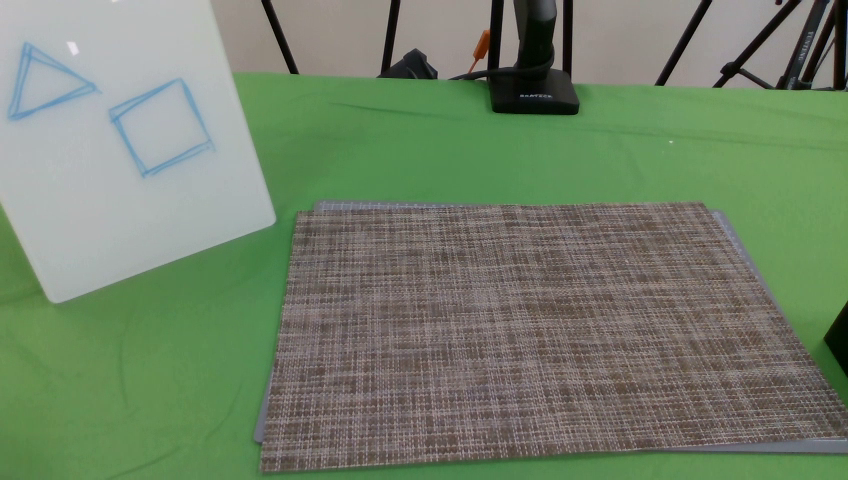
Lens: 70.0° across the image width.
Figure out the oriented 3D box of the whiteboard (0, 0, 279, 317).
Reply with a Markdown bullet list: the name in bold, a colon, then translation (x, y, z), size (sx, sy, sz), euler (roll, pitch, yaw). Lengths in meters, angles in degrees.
- **whiteboard**: translation (-0.301, -0.124, 0.577), size (0.217, 0.307, 0.142), euler (-23, 26, -27)
